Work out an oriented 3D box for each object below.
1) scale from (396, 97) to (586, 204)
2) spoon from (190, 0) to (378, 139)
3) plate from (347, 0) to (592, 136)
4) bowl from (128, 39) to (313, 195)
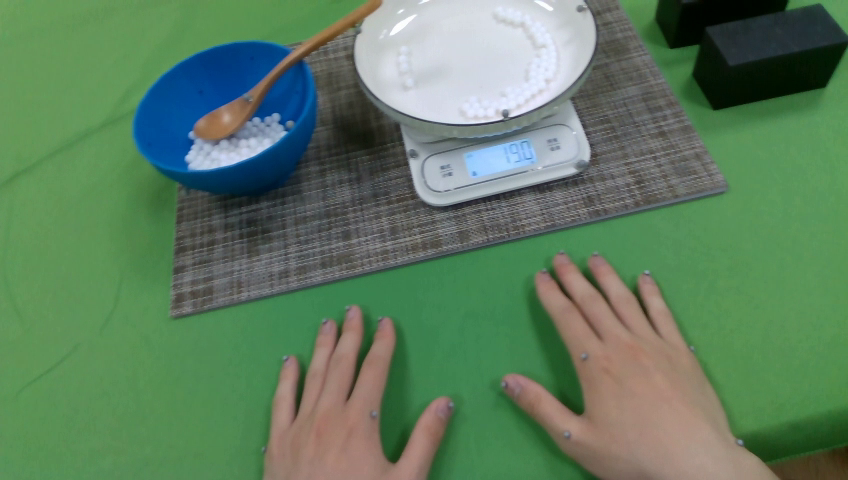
[{"bbox_3d":[0.046,-0.128,0.541,0.149,0.032,0.199,-14,57,0],"label":"scale"},{"bbox_3d":[-0.119,-0.144,0.508,0.194,0.022,0.041,-35,49,12],"label":"spoon"},{"bbox_3d":[0.038,-0.165,0.526,0.209,0.038,0.207,-3,57,5],"label":"plate"},{"bbox_3d":[-0.160,-0.092,0.521,0.151,0.077,0.150,-4,57,6],"label":"bowl"}]
